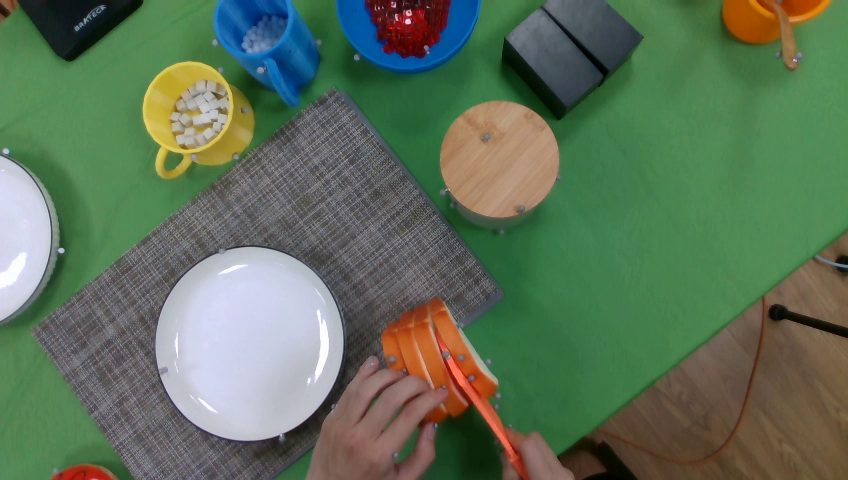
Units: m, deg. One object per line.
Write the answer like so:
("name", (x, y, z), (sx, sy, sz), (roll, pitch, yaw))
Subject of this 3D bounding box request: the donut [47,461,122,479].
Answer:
("donut", (-0.373, 0.292, 0.663), (0.099, 0.048, 0.099), (0, 85, 2))

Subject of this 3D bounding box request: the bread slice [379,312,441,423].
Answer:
("bread slice", (-0.013, 0.125, 0.609), (0.018, 0.134, 0.106), (-24, 83, 6))

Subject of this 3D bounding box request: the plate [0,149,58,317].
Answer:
("plate", (-0.516, -0.006, 0.694), (0.207, 0.039, 0.207), (0, 86, 4))

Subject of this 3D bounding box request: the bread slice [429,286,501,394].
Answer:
("bread slice", (0.043, 0.100, 0.607), (0.019, 0.131, 0.105), (-36, 92, 7))

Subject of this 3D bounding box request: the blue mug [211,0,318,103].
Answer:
("blue mug", (-0.163, -0.203, 0.650), (0.082, 0.106, 0.116), (-18, 85, 3))

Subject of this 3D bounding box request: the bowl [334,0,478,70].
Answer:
("bowl", (-0.016, -0.248, 0.656), (0.151, 0.077, 0.151), (0, 87, 4))

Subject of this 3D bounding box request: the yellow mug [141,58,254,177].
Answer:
("yellow mug", (-0.257, -0.128, 0.671), (0.100, 0.064, 0.131), (30, 90, 6))

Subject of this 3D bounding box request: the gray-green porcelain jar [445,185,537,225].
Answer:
("gray-green porcelain jar", (0.072, -0.071, 0.615), (0.106, 0.127, 0.105), (0, 86, 4))

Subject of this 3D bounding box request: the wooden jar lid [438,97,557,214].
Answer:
("wooden jar lid", (0.067, -0.076, 0.553), (0.108, 0.021, 0.108), (0, 86, 1))

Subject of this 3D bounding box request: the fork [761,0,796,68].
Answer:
("fork", (0.345, -0.222, 0.595), (0.028, 0.019, 0.206), (24, 44, -2))

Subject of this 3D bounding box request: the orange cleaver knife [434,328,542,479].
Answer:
("orange cleaver knife", (0.067, 0.171, 0.590), (0.012, 0.076, 0.213), (-32, 113, 2))

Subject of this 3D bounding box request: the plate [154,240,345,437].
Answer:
("plate", (-0.186, 0.105, 0.661), (0.209, 0.038, 0.208), (0, 86, 4))
